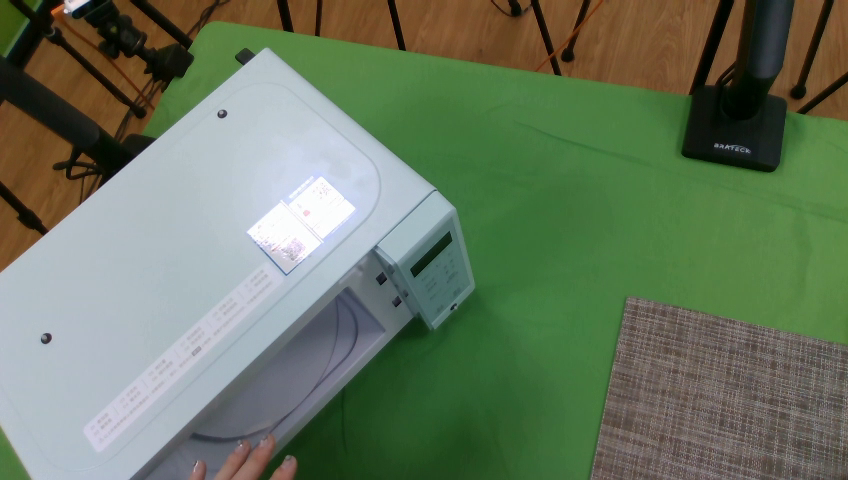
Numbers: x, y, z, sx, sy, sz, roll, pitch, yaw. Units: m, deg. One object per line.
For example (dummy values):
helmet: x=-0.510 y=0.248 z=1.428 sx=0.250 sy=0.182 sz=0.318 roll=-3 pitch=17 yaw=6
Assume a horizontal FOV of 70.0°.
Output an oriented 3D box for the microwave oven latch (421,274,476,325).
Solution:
microwave oven latch: x=0.030 y=0.068 z=0.758 sx=0.079 sy=0.030 sz=0.030 roll=-42 pitch=68 yaw=-8

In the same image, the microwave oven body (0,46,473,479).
microwave oven body: x=-0.213 y=0.062 z=0.696 sx=0.441 sy=0.262 sz=0.323 roll=-45 pitch=68 yaw=-9
